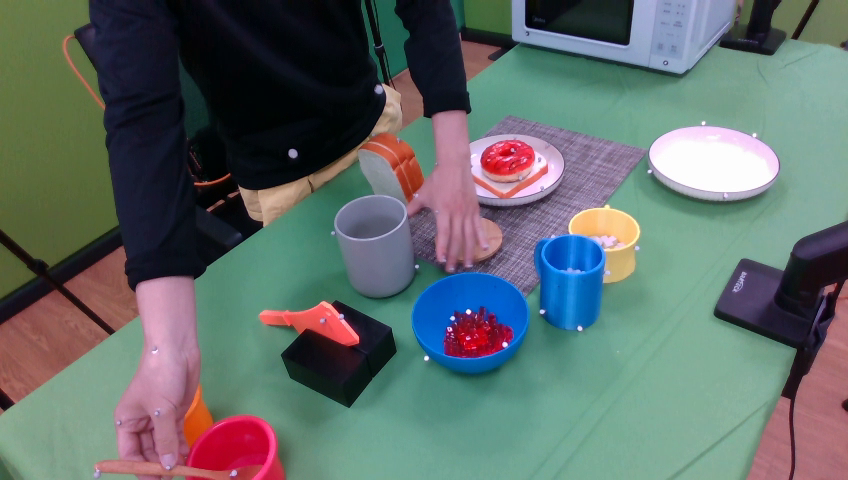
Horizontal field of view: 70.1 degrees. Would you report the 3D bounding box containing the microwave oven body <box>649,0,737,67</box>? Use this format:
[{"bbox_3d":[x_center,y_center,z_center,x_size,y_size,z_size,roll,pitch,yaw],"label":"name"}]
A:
[{"bbox_3d":[0.475,-0.602,1.411,0.438,0.261,0.327,23,50,32],"label":"microwave oven body"}]

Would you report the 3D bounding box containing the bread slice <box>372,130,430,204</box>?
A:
[{"bbox_3d":[-0.043,-0.127,1.039,0.106,0.135,0.018,31,62,34],"label":"bread slice"}]

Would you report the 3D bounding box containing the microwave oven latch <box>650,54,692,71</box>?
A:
[{"bbox_3d":[0.530,-0.386,1.300,0.078,0.029,0.030,23,49,31],"label":"microwave oven latch"}]

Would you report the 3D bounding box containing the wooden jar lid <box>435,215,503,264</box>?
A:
[{"bbox_3d":[0.071,0.001,0.956,0.108,0.021,0.108,-5,40,4],"label":"wooden jar lid"}]

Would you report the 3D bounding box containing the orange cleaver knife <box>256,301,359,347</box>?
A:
[{"bbox_3d":[-0.160,0.115,0.813,0.210,0.077,0.012,-9,30,48],"label":"orange cleaver knife"}]

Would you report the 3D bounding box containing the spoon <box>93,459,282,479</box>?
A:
[{"bbox_3d":[-0.237,0.242,0.626,0.021,0.195,0.041,-39,42,30],"label":"spoon"}]

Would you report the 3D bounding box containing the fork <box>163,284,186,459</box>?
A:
[{"bbox_3d":[-0.303,0.157,0.733,0.028,0.019,0.207,-3,84,13],"label":"fork"}]

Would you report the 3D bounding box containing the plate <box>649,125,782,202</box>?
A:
[{"bbox_3d":[0.493,-0.127,1.036,0.207,0.039,0.206,-4,41,4],"label":"plate"}]

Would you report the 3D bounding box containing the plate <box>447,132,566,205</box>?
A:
[{"bbox_3d":[0.146,-0.124,1.076,0.209,0.038,0.208,-4,41,4],"label":"plate"}]

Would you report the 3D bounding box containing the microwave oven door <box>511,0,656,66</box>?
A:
[{"bbox_3d":[0.351,-0.539,1.348,0.353,0.245,0.039,24,50,31],"label":"microwave oven door"}]

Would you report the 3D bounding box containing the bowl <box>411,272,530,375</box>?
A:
[{"bbox_3d":[0.062,0.120,0.780,0.151,0.077,0.150,-4,40,4],"label":"bowl"}]

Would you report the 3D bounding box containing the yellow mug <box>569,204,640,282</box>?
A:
[{"bbox_3d":[0.268,-0.005,0.904,0.099,0.064,0.130,7,41,15],"label":"yellow mug"}]

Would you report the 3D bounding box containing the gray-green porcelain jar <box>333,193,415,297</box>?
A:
[{"bbox_3d":[-0.070,0.012,0.888,0.106,0.127,0.105,-4,42,4],"label":"gray-green porcelain jar"}]

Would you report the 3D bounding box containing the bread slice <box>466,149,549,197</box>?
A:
[{"bbox_3d":[0.156,-0.128,1.085,0.132,0.019,0.104,-34,49,-23],"label":"bread slice"}]

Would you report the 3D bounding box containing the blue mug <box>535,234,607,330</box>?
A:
[{"bbox_3d":[0.191,0.048,0.824,0.082,0.106,0.115,-26,44,-20],"label":"blue mug"}]

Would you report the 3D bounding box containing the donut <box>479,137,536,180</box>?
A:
[{"bbox_3d":[0.145,-0.144,1.056,0.099,0.048,0.098,-5,42,5],"label":"donut"}]
